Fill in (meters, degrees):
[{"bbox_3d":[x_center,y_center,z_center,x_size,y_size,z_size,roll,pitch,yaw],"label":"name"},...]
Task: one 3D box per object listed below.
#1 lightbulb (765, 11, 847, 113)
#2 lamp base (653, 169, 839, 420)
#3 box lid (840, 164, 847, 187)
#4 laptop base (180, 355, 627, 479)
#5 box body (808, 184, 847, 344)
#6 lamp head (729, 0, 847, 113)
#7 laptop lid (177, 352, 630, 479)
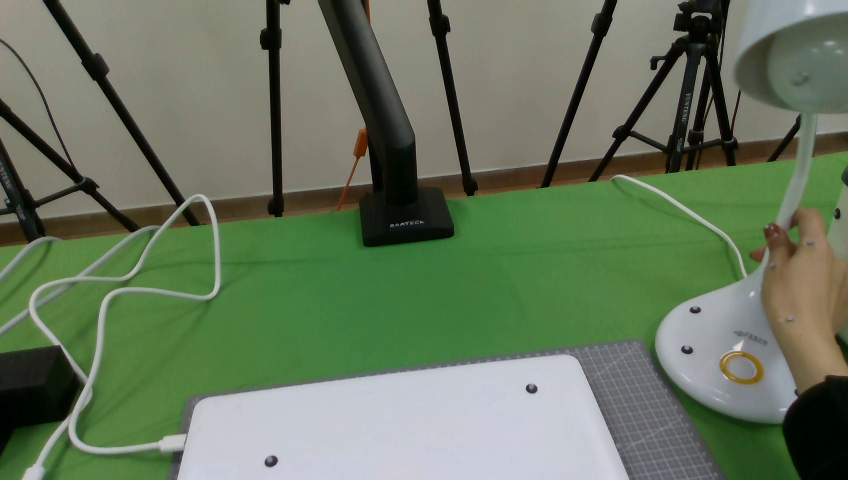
[{"bbox_3d":[0.225,-0.122,0.329,0.059,0.107,0.059,17,-3,1],"label":"lightbulb"},{"bbox_3d":[0.304,0.037,0.545,0.160,0.182,0.178,11,35,21],"label":"lamp base"},{"bbox_3d":[0.536,0.018,0.442,0.264,0.015,0.367,-6,35,-6],"label":"box lid"},{"bbox_3d":[-0.018,0.200,0.478,0.355,0.023,0.233,-6,38,-4],"label":"laptop base"},{"bbox_3d":[0.539,0.081,0.483,0.254,0.162,0.360,-7,35,-6],"label":"box body"},{"bbox_3d":[0.236,-0.144,0.335,0.112,0.113,0.122,9,74,17],"label":"lamp head"},{"bbox_3d":[-0.018,0.192,0.469,0.357,0.013,0.239,-5,37,-3],"label":"laptop lid"}]
